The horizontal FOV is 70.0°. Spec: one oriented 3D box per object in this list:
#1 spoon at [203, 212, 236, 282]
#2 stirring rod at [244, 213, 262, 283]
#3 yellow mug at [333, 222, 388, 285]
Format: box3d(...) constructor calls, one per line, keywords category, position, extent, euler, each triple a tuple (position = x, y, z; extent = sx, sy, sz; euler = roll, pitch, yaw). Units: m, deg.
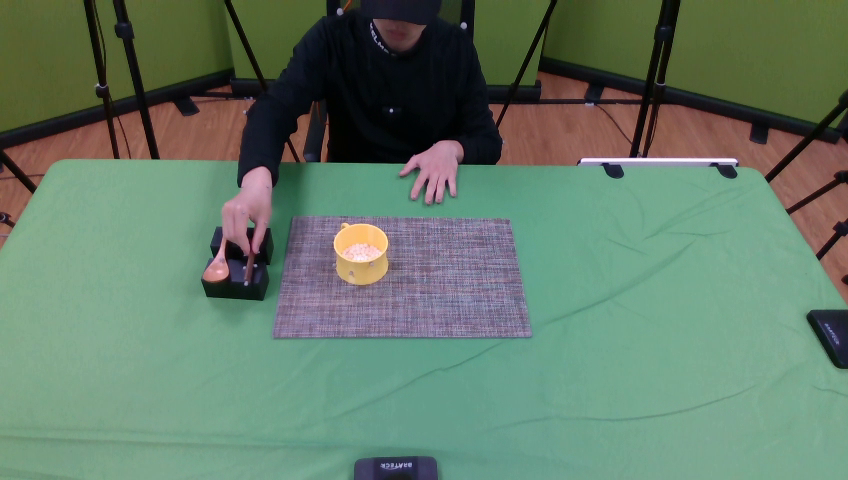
box3d(category="spoon", position=(-0.362, 0.009, 1.097), extent=(0.041, 0.022, 0.192), euler=(0, 44, -3))
box3d(category="stirring rod", position=(-0.309, 0.011, 1.095), extent=(0.006, 0.014, 0.175), euler=(-15, 43, 9))
box3d(category="yellow mug", position=(-0.127, 0.016, 1.139), extent=(0.100, 0.064, 0.130), euler=(-23, 51, -24))
